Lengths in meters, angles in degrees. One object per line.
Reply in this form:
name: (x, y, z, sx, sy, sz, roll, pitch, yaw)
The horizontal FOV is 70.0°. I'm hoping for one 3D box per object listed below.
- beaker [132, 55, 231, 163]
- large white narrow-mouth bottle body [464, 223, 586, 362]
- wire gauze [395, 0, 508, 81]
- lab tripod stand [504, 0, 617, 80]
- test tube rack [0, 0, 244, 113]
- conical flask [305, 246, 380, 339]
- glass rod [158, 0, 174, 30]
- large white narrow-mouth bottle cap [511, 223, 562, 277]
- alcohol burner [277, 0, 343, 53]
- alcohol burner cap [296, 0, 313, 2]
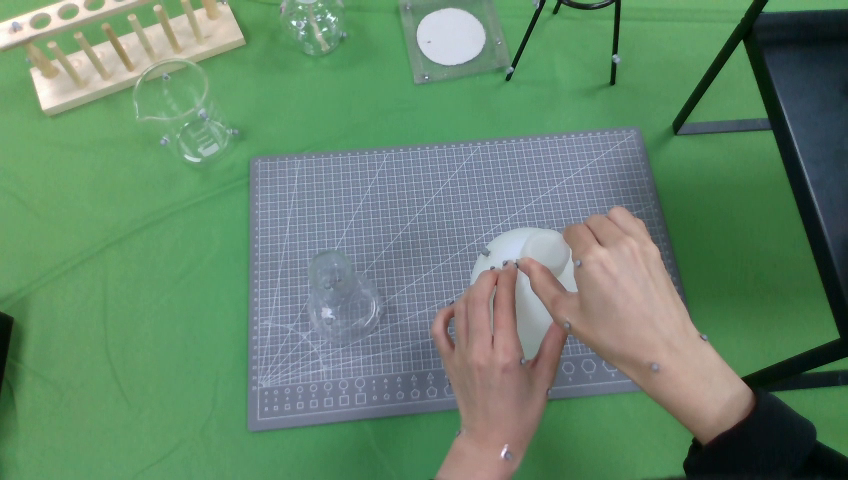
beaker: (-0.256, -0.133, 0.649, 0.073, 0.101, 0.084, 40, 73, 14)
large white narrow-mouth bottle body: (0.088, 0.041, 0.534, 0.102, 0.196, 0.101, -1, 68, 2)
wire gauze: (0.033, -0.259, 0.754, 0.121, 0.011, 0.124, -9, 69, -6)
lab tripod stand: (0.165, -0.254, 0.688, 0.148, 0.132, 0.147, 1, 67, -2)
test tube rack: (-0.344, -0.238, 0.696, 0.242, 0.086, 0.066, -24, 71, -11)
conical flask: (-0.082, 0.044, 0.567, 0.075, 0.122, 0.075, 0, 68, 0)
glass rod: (-0.298, -0.299, 0.650, 0.008, 0.201, 0.008, 2, 66, -5)
large white narrow-mouth bottle cap: (0.085, 0.008, 0.455, 0.038, 0.024, 0.037, 0, 68, 1)
alcohol burner: (-0.134, -0.275, 0.701, 0.078, 0.120, 0.077, 1, 66, -1)
alcohol burner cap: (-0.134, -0.291, 0.668, 0.034, 0.048, 0.033, 4, 66, -9)
